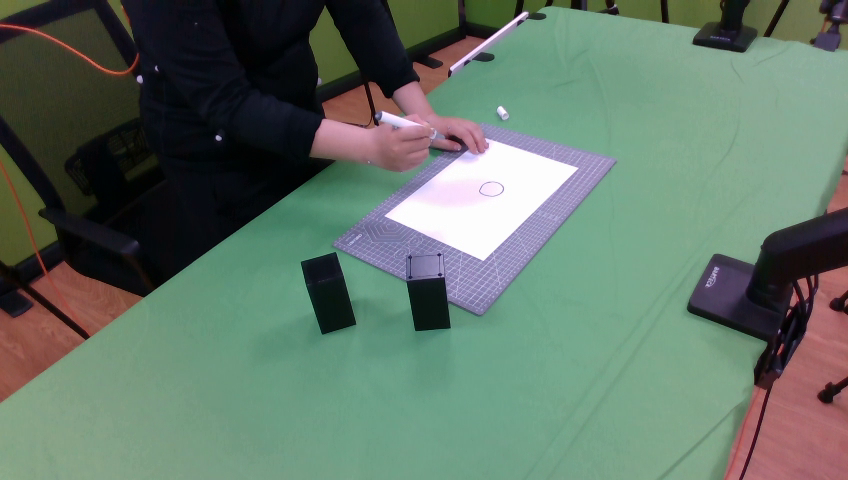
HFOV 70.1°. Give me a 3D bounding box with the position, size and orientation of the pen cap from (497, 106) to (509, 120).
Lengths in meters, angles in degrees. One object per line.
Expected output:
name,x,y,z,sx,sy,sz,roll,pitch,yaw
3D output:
pen cap,0.164,-0.264,1.262,0.017,0.017,0.038,-13,41,-7

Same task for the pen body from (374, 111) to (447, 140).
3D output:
pen body,-0.017,-0.178,0.961,0.145,0.017,0.016,11,26,-38
